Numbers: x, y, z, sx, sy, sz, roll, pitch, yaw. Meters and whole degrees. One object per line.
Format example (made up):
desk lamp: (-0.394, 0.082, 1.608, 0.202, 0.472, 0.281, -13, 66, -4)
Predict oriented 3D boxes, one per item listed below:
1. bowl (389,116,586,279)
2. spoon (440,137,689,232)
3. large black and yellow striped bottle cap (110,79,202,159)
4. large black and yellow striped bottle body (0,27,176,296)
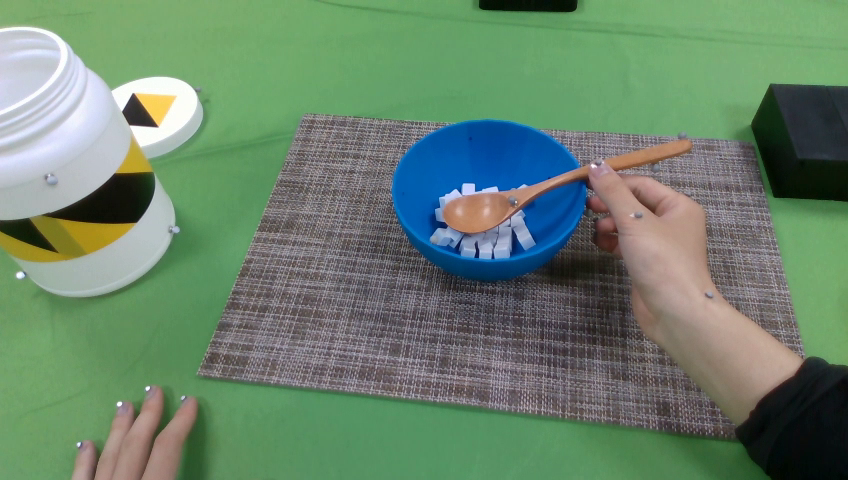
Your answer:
bowl: (0.049, -0.022, 0.493, 0.151, 0.077, 0.150, -1, 53, 2)
spoon: (0.106, -0.045, 0.465, 0.193, 0.022, 0.041, -19, 48, 12)
large black and yellow striped bottle cap: (-0.294, -0.129, 0.637, 0.115, 0.019, 0.114, 0, 52, 1)
large black and yellow striped bottle body: (-0.290, -0.056, 0.474, 0.131, 0.186, 0.129, -1, 52, 2)
